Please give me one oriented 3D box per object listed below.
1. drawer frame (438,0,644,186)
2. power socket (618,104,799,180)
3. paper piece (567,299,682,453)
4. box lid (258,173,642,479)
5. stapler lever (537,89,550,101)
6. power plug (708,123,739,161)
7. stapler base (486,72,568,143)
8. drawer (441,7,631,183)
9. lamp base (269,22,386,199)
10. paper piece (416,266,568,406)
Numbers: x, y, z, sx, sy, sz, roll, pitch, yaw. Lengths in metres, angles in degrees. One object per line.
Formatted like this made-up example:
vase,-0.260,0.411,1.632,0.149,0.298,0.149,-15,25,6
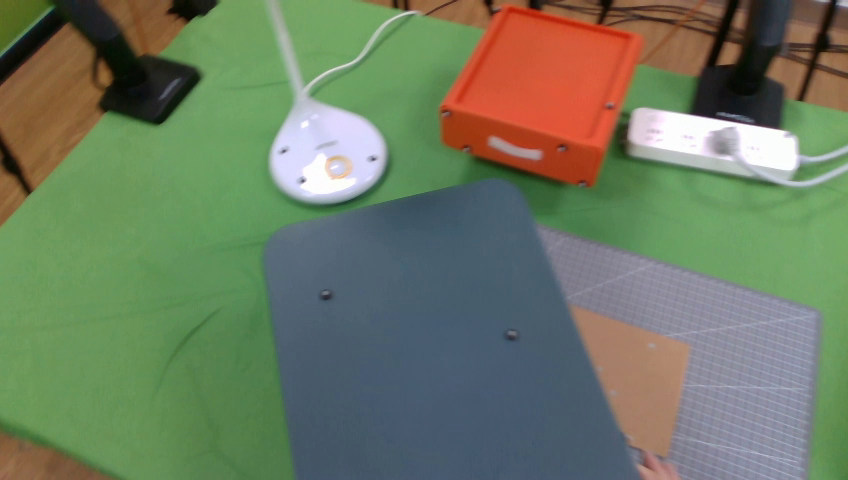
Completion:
drawer frame,0.151,-0.196,0.780,0.201,0.083,0.212,19,60,15
power socket,0.378,-0.132,0.808,0.226,0.033,0.072,13,60,11
paper piece,0.200,0.142,0.657,0.135,0.004,0.135,19,61,15
box lid,0.010,0.115,0.520,0.263,0.015,0.368,-15,62,-7
stapler lever,0.122,-0.190,0.769,0.027,0.040,0.117,-40,58,-2
power plug,0.377,-0.119,0.773,0.035,0.053,0.072,23,62,16
stapler base,0.132,-0.179,0.791,0.041,0.025,0.129,-40,60,-2
drawer,0.152,-0.194,0.779,0.193,0.074,0.210,19,60,16
lamp base,-0.144,-0.172,0.774,0.160,0.182,0.177,-30,58,-15
paper piece,0.079,0.103,0.689,0.135,0.009,0.137,17,61,17
